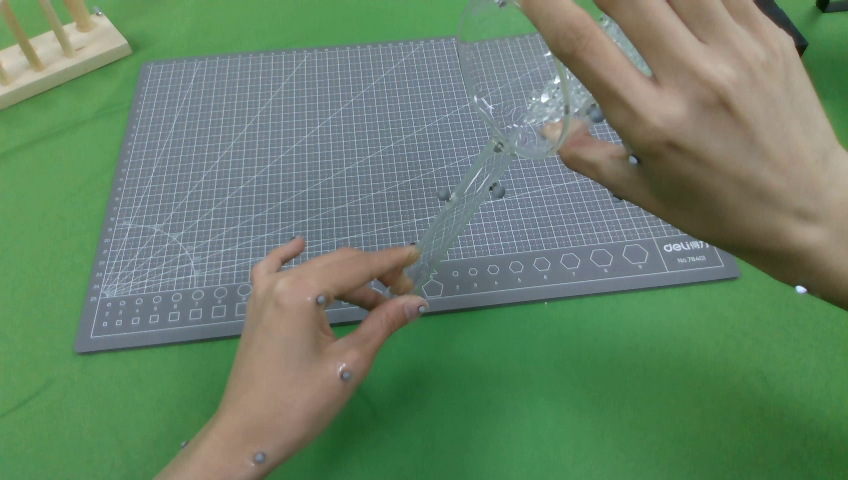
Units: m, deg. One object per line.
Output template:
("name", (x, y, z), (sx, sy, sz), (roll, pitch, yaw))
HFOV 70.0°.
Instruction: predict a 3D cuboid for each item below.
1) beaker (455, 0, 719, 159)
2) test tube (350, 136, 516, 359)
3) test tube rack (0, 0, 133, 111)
("beaker", (0.076, -0.090, 0.280), (0.100, 0.084, 0.073), (-31, 62, -18))
("test tube", (0.000, 0.010, 0.325), (0.017, 0.150, 0.017), (29, 23, -13))
("test tube rack", (-0.391, -0.159, 0.512), (0.242, 0.086, 0.066), (-33, 60, -21))
